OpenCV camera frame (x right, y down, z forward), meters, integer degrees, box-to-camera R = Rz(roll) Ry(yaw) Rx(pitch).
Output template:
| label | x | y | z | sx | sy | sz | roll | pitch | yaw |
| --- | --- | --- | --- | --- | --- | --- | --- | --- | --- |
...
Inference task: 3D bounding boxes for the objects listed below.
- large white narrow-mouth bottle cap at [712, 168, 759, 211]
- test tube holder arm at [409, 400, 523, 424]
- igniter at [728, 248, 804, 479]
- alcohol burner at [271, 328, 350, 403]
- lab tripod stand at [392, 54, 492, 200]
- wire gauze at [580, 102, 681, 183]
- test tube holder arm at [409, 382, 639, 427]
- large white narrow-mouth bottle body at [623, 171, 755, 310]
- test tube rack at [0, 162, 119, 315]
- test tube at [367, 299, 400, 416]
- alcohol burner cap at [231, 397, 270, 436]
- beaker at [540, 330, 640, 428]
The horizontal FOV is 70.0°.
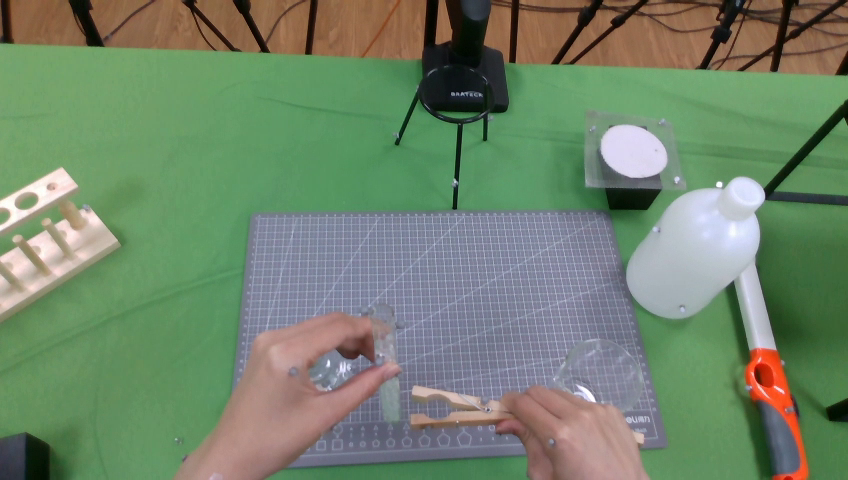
| label | x | y | z | sx | sy | sz | roll | pitch | yaw |
| --- | --- | --- | --- | --- | --- | --- | --- | --- | --- |
| large white narrow-mouth bottle cap | 0.298 | -0.049 | 0.581 | 0.038 | 0.024 | 0.037 | 2 | 60 | -3 |
| test tube holder arm | 0.032 | 0.131 | 0.468 | 0.088 | 0.015 | 0.010 | -6 | 64 | -4 |
| igniter | 0.379 | 0.126 | 0.685 | 0.057 | 0.025 | 0.274 | 11 | 59 | -12 |
| alcohol burner | -0.111 | 0.116 | 0.589 | 0.078 | 0.120 | 0.077 | 4 | 59 | -5 |
| lab tripod stand | 0.030 | -0.144 | 0.744 | 0.148 | 0.132 | 0.147 | 3 | 61 | -5 |
| wire gauze | 0.259 | -0.124 | 0.770 | 0.121 | 0.011 | 0.124 | 6 | 60 | -2 |
| test tube holder arm | 0.077 | 0.128 | 0.471 | 0.178 | 0.015 | 0.013 | 6 | 65 | 1 |
| large white narrow-mouth bottle body | 0.292 | -0.005 | 0.654 | 0.102 | 0.196 | 0.101 | 2 | 60 | -3 |
| test tube rack | -0.457 | 0.027 | 0.625 | 0.242 | 0.086 | 0.066 | -39 | 71 | -24 |
| test tube | -0.027 | 0.088 | 0.422 | 0.017 | 0.151 | 0.017 | 0 | 51 | 0 |
| alcohol burner cap | -0.172 | 0.171 | 0.593 | 0.034 | 0.048 | 0.033 | 2 | 62 | -3 |
| beaker | 0.159 | 0.144 | 0.608 | 0.084 | 0.101 | 0.073 | -4 | 60 | -7 |
